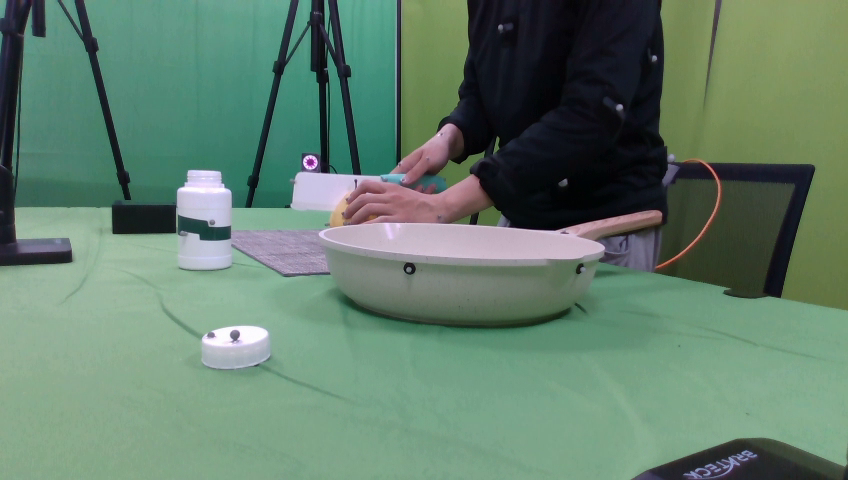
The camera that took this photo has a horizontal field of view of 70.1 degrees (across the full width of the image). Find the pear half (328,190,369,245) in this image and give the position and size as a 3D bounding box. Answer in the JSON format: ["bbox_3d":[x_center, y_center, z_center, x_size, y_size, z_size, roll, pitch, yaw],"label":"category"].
[{"bbox_3d":[-0.126,-0.036,0.976,0.071,0.088,0.031,-7,9,-37],"label":"pear half"}]

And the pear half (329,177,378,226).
[{"bbox_3d":[-0.105,-0.042,0.945,0.077,0.110,0.055,-7,13,-38],"label":"pear half"}]

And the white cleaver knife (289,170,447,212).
[{"bbox_3d":[-0.084,-0.079,0.983,0.288,0.066,0.021,-3,12,-33],"label":"white cleaver knife"}]

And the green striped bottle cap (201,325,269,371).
[{"bbox_3d":[-0.129,0.073,0.415,0.044,0.020,0.044,3,8,0],"label":"green striped bottle cap"}]

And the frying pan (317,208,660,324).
[{"bbox_3d":[0.121,0.006,0.691,0.490,0.102,0.305,-12,15,-33],"label":"frying pan"}]

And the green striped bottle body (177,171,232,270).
[{"bbox_3d":[-0.273,-0.026,0.752,0.063,0.119,0.063,2,7,0],"label":"green striped bottle body"}]
